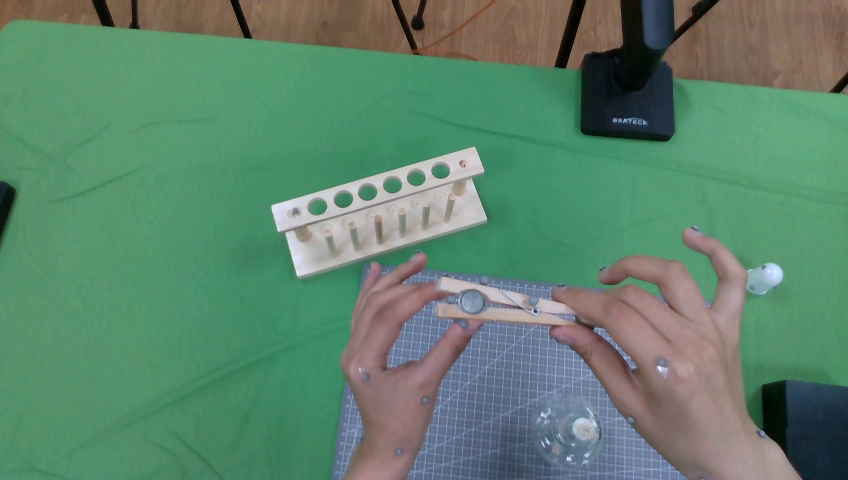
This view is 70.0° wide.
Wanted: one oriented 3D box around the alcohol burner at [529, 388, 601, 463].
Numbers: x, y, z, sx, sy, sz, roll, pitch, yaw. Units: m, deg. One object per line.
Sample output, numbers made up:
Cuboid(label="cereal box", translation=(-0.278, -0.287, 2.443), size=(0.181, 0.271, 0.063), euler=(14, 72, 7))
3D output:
Cuboid(label="alcohol burner", translation=(0.151, 0.192, 0.630), size=(0.078, 0.119, 0.077), euler=(1, 73, -2))

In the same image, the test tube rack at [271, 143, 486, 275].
Cuboid(label="test tube rack", translation=(-0.047, -0.035, 0.717), size=(0.242, 0.085, 0.066), euler=(-17, 72, -7))

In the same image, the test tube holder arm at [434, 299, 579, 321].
Cuboid(label="test tube holder arm", translation=(0.050, 0.043, 0.366), size=(0.088, 0.015, 0.010), euler=(4, 84, -9))

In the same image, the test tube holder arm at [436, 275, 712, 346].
Cuboid(label="test tube holder arm", translation=(0.095, 0.044, 0.373), size=(0.179, 0.015, 0.013), euler=(11, 83, -8))

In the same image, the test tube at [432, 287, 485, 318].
Cuboid(label="test tube", translation=(0.021, 0.046, 0.429), size=(0.017, 0.150, 0.017), euler=(1, 82, -6))

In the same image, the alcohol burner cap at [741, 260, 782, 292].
Cuboid(label="alcohol burner cap", translation=(0.407, 0.041, 0.726), size=(0.034, 0.048, 0.033), euler=(0, 70, 0))
